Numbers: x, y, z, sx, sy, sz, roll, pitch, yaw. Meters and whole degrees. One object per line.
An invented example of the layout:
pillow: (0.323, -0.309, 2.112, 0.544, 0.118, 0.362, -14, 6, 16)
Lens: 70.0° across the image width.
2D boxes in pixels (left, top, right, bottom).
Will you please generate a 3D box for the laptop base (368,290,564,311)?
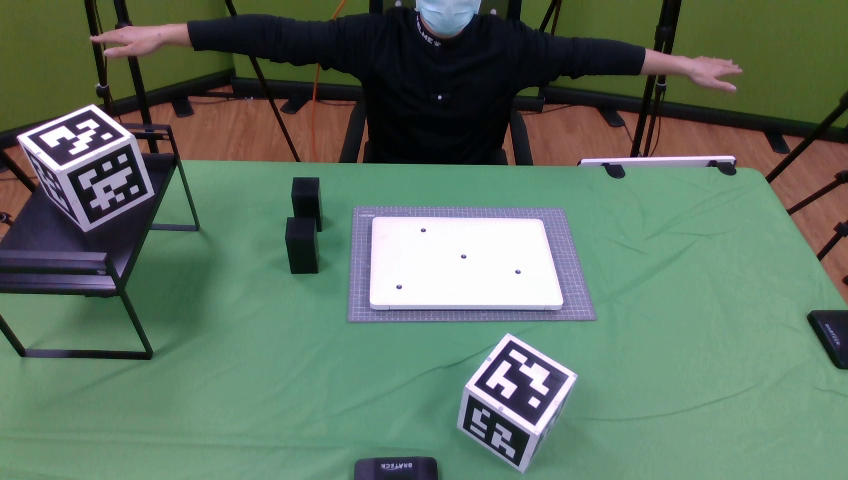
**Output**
laptop base: (0.074, 0.044, 1.160, 0.354, 0.023, 0.234, 0, 43, -3)

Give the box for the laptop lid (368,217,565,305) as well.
laptop lid: (0.074, 0.034, 1.153, 0.357, 0.013, 0.240, 2, 44, -2)
